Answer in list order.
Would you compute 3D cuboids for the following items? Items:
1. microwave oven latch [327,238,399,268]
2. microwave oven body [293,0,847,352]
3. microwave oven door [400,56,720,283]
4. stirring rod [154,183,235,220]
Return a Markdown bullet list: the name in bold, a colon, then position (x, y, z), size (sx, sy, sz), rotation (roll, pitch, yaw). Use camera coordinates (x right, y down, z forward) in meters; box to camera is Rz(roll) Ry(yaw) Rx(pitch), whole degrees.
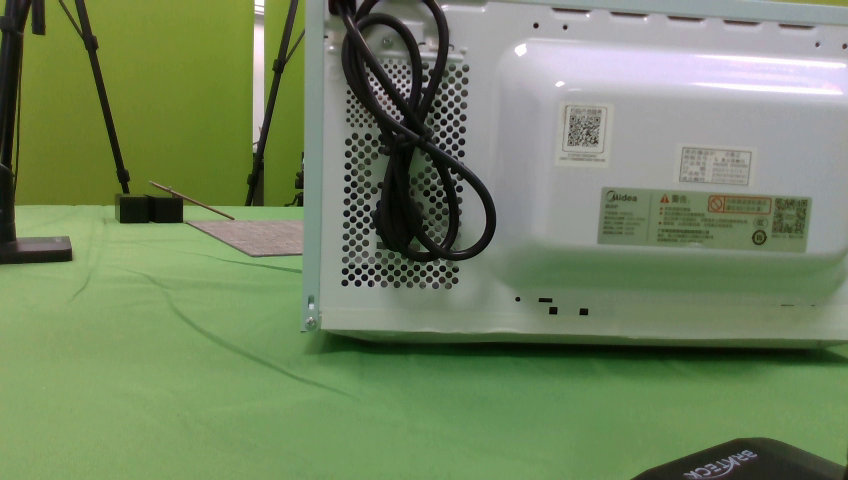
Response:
- **microwave oven latch**: position (-0.069, 0.015, 0.694), size (0.079, 0.029, 0.030), rotation (3, 7, -3)
- **microwave oven body**: position (0.122, -0.055, 0.550), size (0.442, 0.260, 0.325), rotation (3, 7, -5)
- **microwave oven door**: position (0.155, -0.077, 0.697), size (0.356, 0.243, 0.039), rotation (2, 8, -5)
- **stirring rod**: position (-0.472, -0.079, 1.252), size (0.177, 0.006, 0.014), rotation (27, 4, -35)
